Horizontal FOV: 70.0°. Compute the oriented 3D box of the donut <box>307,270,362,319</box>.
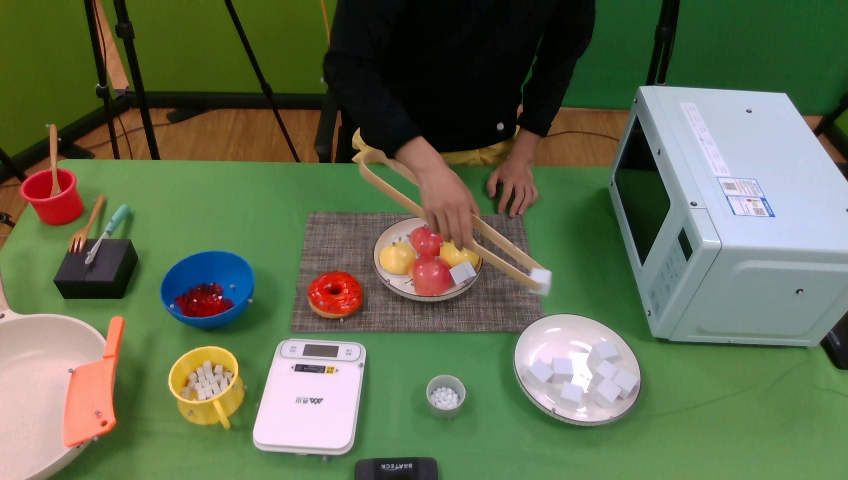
[{"bbox_3d":[-0.158,0.096,1.073,0.099,0.048,0.098,4,46,-4],"label":"donut"}]

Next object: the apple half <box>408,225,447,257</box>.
[{"bbox_3d":[0.011,-0.006,1.177,0.081,0.033,0.081,2,53,-2],"label":"apple half"}]

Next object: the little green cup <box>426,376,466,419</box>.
[{"bbox_3d":[0.033,0.248,0.950,0.061,0.039,0.061,2,46,-2],"label":"little green cup"}]

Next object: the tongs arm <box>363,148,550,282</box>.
[{"bbox_3d":[0.051,-0.042,1.054,0.384,0.026,0.050,39,56,11],"label":"tongs arm"}]

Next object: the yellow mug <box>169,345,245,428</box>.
[{"bbox_3d":[-0.322,0.230,0.922,0.100,0.064,0.130,-24,53,-25],"label":"yellow mug"}]

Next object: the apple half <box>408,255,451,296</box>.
[{"bbox_3d":[0.012,0.058,1.103,0.075,0.053,0.080,-6,43,-14],"label":"apple half"}]

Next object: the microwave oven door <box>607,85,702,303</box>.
[{"bbox_3d":[0.423,-0.094,1.140,0.039,0.245,0.353,2,46,-1],"label":"microwave oven door"}]

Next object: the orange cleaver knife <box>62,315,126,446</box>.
[{"bbox_3d":[-0.480,0.199,0.887,0.077,0.012,0.210,-9,47,-8],"label":"orange cleaver knife"}]

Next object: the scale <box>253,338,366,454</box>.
[{"bbox_3d":[-0.175,0.236,0.951,0.149,0.032,0.199,4,45,-1],"label":"scale"}]

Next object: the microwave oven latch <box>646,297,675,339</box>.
[{"bbox_3d":[0.412,0.134,1.061,0.030,0.029,0.078,4,45,1],"label":"microwave oven latch"}]

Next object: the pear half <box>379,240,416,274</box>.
[{"bbox_3d":[-0.048,0.024,1.146,0.070,0.031,0.087,11,47,-11],"label":"pear half"}]

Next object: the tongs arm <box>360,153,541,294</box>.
[{"bbox_3d":[0.038,-0.028,1.040,0.387,0.028,0.028,36,59,8],"label":"tongs arm"}]

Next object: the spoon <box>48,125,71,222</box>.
[{"bbox_3d":[-0.718,-0.131,1.188,0.041,0.021,0.193,-3,90,-7],"label":"spoon"}]

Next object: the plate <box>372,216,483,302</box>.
[{"bbox_3d":[0.006,0.038,1.145,0.209,0.038,0.208,2,46,-2],"label":"plate"}]

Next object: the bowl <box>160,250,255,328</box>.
[{"bbox_3d":[-0.362,0.098,1.040,0.151,0.077,0.150,2,45,-2],"label":"bowl"}]

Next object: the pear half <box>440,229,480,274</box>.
[{"bbox_3d":[0.065,0.006,1.150,0.076,0.056,0.109,-10,43,-1],"label":"pear half"}]

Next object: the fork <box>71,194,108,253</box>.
[{"bbox_3d":[-0.634,-0.036,1.158,0.028,0.019,0.206,-8,31,-8],"label":"fork"}]

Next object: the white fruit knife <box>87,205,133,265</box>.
[{"bbox_3d":[-0.584,-0.013,1.129,0.016,0.027,0.206,-1,32,-4],"label":"white fruit knife"}]

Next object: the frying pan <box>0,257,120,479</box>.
[{"bbox_3d":[-0.647,0.164,0.937,0.307,0.103,0.485,-19,58,-22],"label":"frying pan"}]

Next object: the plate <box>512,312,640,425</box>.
[{"bbox_3d":[0.246,0.213,0.999,0.208,0.039,0.206,2,46,-2],"label":"plate"}]

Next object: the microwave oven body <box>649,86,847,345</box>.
[{"bbox_3d":[0.567,-0.053,1.118,0.326,0.261,0.439,2,45,-1],"label":"microwave oven body"}]
